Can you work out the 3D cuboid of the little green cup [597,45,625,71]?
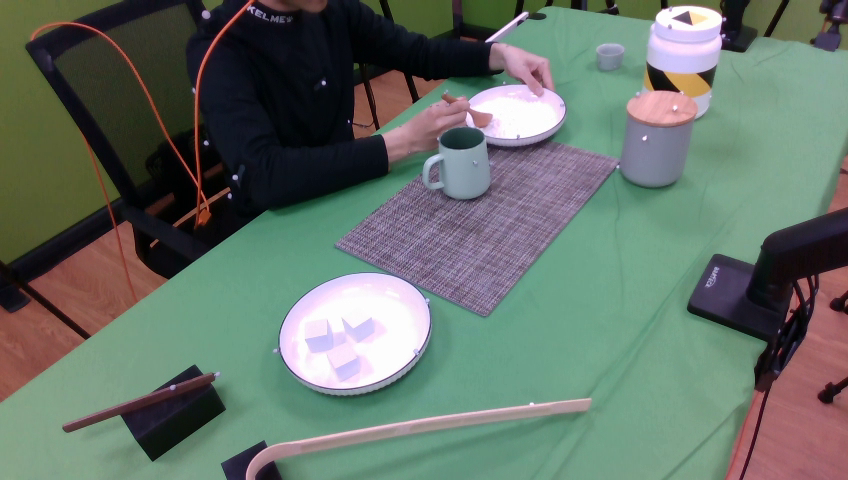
[{"bbox_3d":[0.422,-0.413,1.375,0.061,0.039,0.061,-3,41,3],"label":"little green cup"}]

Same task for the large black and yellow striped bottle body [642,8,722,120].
[{"bbox_3d":[0.493,-0.334,1.161,0.131,0.185,0.130,-4,41,4],"label":"large black and yellow striped bottle body"}]

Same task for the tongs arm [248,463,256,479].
[{"bbox_3d":[0.012,0.262,0.615,0.385,0.026,0.050,3,42,-2],"label":"tongs arm"}]

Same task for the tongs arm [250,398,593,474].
[{"bbox_3d":[0.008,0.212,0.675,0.389,0.028,0.028,-5,46,-11],"label":"tongs arm"}]

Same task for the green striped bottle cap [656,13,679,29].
[{"bbox_3d":[0.515,-0.463,1.278,0.044,0.020,0.044,-6,42,6],"label":"green striped bottle cap"}]

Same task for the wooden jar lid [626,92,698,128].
[{"bbox_3d":[0.384,-0.207,0.980,0.108,0.021,0.108,-6,39,5],"label":"wooden jar lid"}]

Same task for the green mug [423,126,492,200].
[{"bbox_3d":[0.055,-0.125,1.039,0.126,0.105,0.091,-25,44,-18],"label":"green mug"}]

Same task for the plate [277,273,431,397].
[{"bbox_3d":[-0.091,0.129,0.821,0.207,0.039,0.206,-4,40,4],"label":"plate"}]

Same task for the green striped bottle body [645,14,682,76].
[{"bbox_3d":[0.520,-0.424,1.312,0.063,0.120,0.063,-4,41,4],"label":"green striped bottle body"}]

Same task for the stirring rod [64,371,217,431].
[{"bbox_3d":[-0.337,0.192,0.723,0.177,0.014,0.005,-18,43,-12],"label":"stirring rod"}]

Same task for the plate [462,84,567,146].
[{"bbox_3d":[0.180,-0.245,1.208,0.209,0.038,0.208,-4,42,4],"label":"plate"}]

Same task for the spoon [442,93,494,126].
[{"bbox_3d":[0.081,-0.246,1.139,0.041,0.195,0.021,-31,68,25],"label":"spoon"}]

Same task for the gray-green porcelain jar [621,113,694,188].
[{"bbox_3d":[0.390,-0.161,1.020,0.106,0.127,0.105,-4,41,4],"label":"gray-green porcelain jar"}]

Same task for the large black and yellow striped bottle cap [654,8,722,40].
[{"bbox_3d":[0.483,-0.397,1.108,0.115,0.019,0.114,-3,41,3],"label":"large black and yellow striped bottle cap"}]
